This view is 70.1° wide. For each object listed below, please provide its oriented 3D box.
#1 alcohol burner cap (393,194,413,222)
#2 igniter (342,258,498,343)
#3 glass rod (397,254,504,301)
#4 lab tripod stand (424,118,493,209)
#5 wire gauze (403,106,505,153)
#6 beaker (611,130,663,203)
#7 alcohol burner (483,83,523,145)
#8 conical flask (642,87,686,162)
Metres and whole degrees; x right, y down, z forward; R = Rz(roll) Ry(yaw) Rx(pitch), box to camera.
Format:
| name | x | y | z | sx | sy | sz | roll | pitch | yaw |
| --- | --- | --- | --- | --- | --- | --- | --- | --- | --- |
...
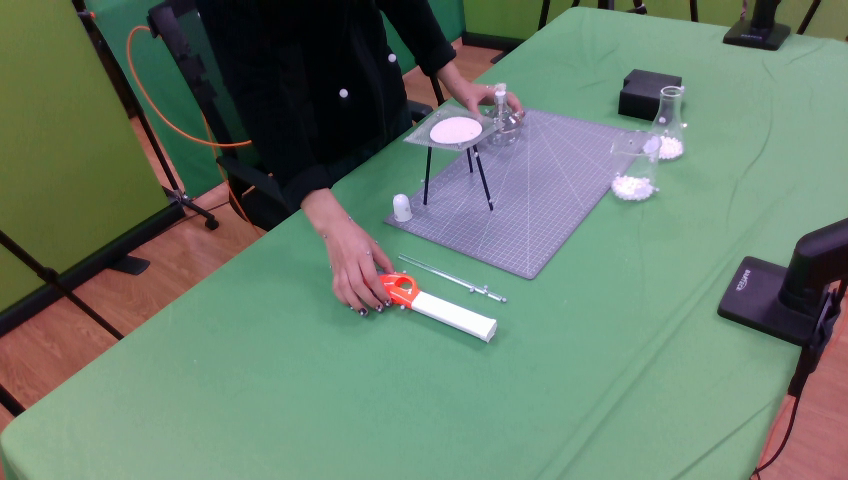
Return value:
| name | x | y | z | sx | sy | sz | roll | pitch | yaw |
| --- | --- | --- | --- | --- | --- | --- | --- | --- | --- |
| alcohol burner cap | -0.039 | -0.056 | 1.038 | 0.034 | 0.048 | 0.033 | -6 | 40 | 5 |
| igniter | -0.017 | 0.083 | 0.884 | 0.274 | 0.025 | 0.057 | 21 | 56 | 31 |
| glass rod | 0.036 | 0.054 | 0.922 | 0.198 | 0.008 | 0.008 | 21 | 49 | 31 |
| lab tripod stand | 0.061 | -0.133 | 1.039 | 0.148 | 0.132 | 0.147 | -6 | 39 | 6 |
| wire gauze | 0.049 | -0.181 | 0.992 | 0.120 | 0.011 | 0.125 | 23 | 48 | 34 |
| beaker | 0.346 | -0.118 | 0.998 | 0.084 | 0.101 | 0.073 | -17 | 40 | -7 |
| alcohol burner | 0.151 | -0.246 | 1.171 | 0.078 | 0.120 | 0.077 | -7 | 39 | 7 |
| conical flask | 0.429 | -0.206 | 1.068 | 0.075 | 0.122 | 0.075 | -6 | 40 | 5 |
